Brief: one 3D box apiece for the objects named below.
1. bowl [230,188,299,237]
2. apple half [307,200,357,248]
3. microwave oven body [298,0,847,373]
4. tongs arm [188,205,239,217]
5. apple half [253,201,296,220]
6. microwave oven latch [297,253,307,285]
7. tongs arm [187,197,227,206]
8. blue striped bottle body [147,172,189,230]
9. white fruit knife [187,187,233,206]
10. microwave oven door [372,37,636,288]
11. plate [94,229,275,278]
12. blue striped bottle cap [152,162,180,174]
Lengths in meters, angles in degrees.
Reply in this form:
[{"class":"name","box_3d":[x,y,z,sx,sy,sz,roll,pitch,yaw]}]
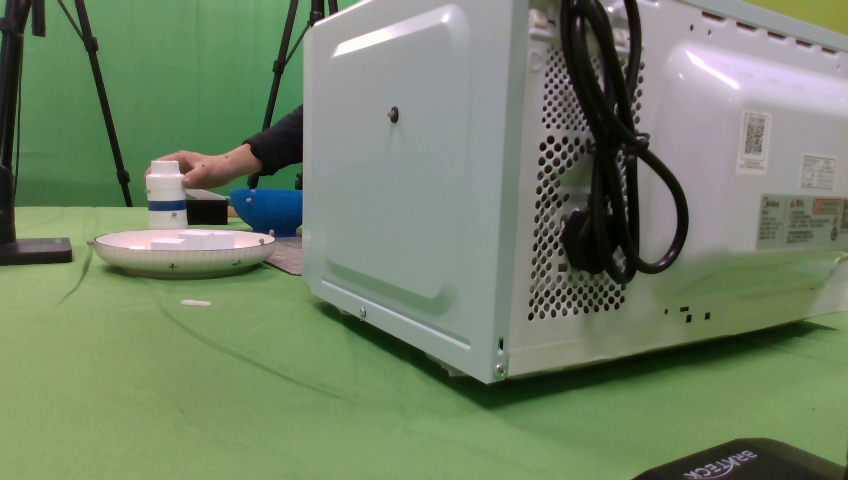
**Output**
[{"class":"bowl","box_3d":[-0.264,-0.048,1.065,0.151,0.077,0.151,2,8,0]},{"class":"apple half","box_3d":[-0.135,-0.024,0.941,0.053,0.074,0.081,13,8,39]},{"class":"microwave oven body","box_3d":[0.151,-0.055,0.542,0.444,0.260,0.324,-1,7,-33]},{"class":"tongs arm","box_3d":[-0.396,-0.065,1.399,0.389,0.028,0.028,1,6,-15]},{"class":"apple half","box_3d":[-0.264,-0.053,1.066,0.081,0.033,0.081,1,8,0]},{"class":"microwave oven latch","box_3d":[-0.082,0.027,0.582,0.079,0.029,0.030,-1,7,-32]},{"class":"tongs arm","box_3d":[-0.404,-0.081,1.479,0.385,0.026,0.050,3,9,-2]},{"class":"blue striped bottle body","box_3d":[-0.443,-0.073,1.047,0.063,0.121,0.063,0,9,0]},{"class":"white fruit knife","box_3d":[-0.413,-0.081,1.270,0.208,0.027,0.016,17,14,-41]},{"class":"microwave oven door","box_3d":[0.109,-0.080,0.686,0.358,0.243,0.039,-2,9,-33]},{"class":"plate","box_3d":[-0.291,0.016,0.750,0.208,0.039,0.207,2,7,0]},{"class":"blue striped bottle cap","box_3d":[-0.443,-0.124,1.039,0.044,0.020,0.044,2,11,0]}]
